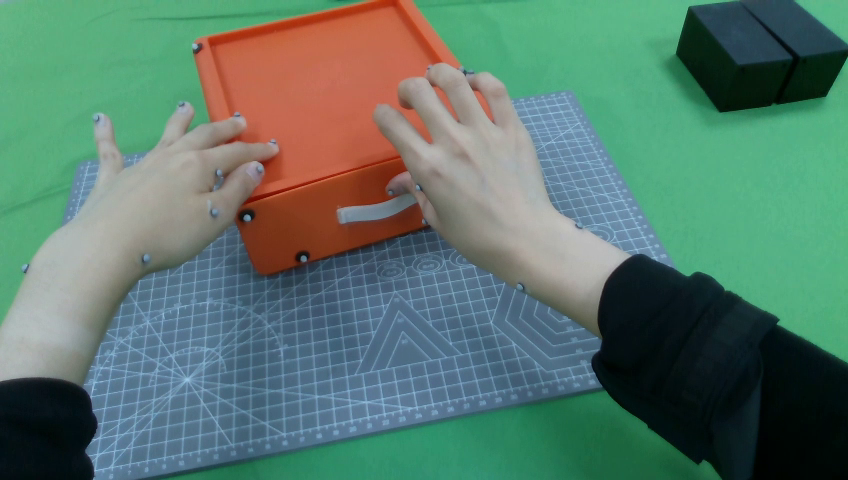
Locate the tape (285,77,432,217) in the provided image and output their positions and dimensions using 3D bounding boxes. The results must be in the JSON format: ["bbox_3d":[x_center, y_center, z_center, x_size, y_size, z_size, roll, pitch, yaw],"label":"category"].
[{"bbox_3d":[-0.052,-0.077,0.486,0.117,0.053,0.115,-1,50,1],"label":"tape"}]

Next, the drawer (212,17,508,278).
[{"bbox_3d":[-0.064,-0.089,0.491,0.195,0.074,0.209,-18,50,-12],"label":"drawer"}]

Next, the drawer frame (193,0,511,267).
[{"bbox_3d":[-0.067,-0.095,0.495,0.202,0.083,0.211,-18,49,-13],"label":"drawer frame"}]
